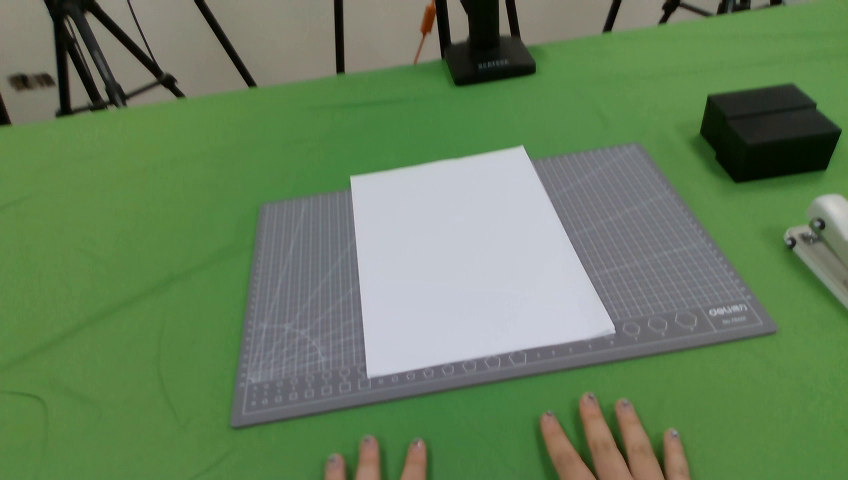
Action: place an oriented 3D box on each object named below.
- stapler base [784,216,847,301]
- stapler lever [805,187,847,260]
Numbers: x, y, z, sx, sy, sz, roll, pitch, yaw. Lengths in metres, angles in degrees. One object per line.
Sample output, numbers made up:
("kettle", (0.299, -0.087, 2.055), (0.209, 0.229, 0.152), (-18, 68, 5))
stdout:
("stapler base", (0.368, 0.018, 0.526), (0.041, 0.025, 0.129), (-12, 44, -2))
("stapler lever", (0.366, 0.001, 0.508), (0.027, 0.040, 0.116), (-13, 43, -2))
